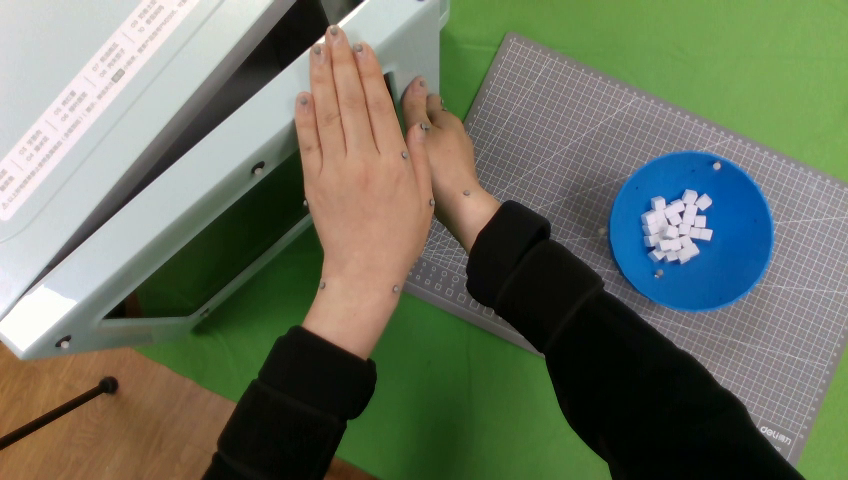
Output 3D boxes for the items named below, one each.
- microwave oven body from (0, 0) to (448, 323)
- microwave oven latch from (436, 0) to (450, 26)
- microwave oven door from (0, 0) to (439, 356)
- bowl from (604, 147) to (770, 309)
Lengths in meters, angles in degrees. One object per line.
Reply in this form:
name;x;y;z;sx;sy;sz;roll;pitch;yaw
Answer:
microwave oven body;-0.235;-0.185;0.520;0.325;0.260;0.441;39;87;3
microwave oven latch;-0.006;-0.220;0.618;0.030;0.029;0.079;41;87;3
microwave oven door;-0.130;-0.043;0.502;0.356;0.244;0.039;-42;85;-3
bowl;0.243;-0.008;0.592;0.151;0.077;0.151;0;85;1
